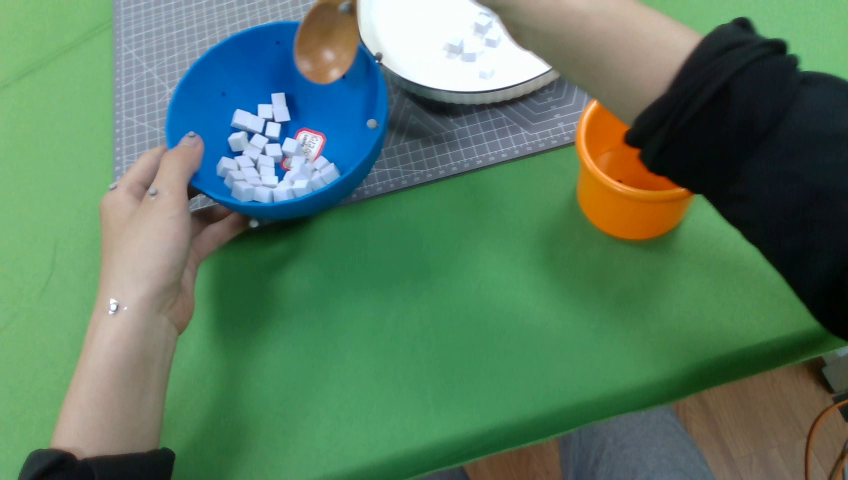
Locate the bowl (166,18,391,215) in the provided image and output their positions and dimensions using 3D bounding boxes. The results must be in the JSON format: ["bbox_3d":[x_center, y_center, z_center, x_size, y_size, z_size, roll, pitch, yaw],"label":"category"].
[{"bbox_3d":[-0.094,-0.075,0.436,0.151,0.077,0.150,-1,66,4],"label":"bowl"}]

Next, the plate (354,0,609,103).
[{"bbox_3d":[0.046,-0.196,0.510,0.209,0.038,0.207,-3,65,6],"label":"plate"}]

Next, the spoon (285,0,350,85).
[{"bbox_3d":[-0.040,-0.171,0.349,0.042,0.194,0.021,31,44,-4],"label":"spoon"}]
